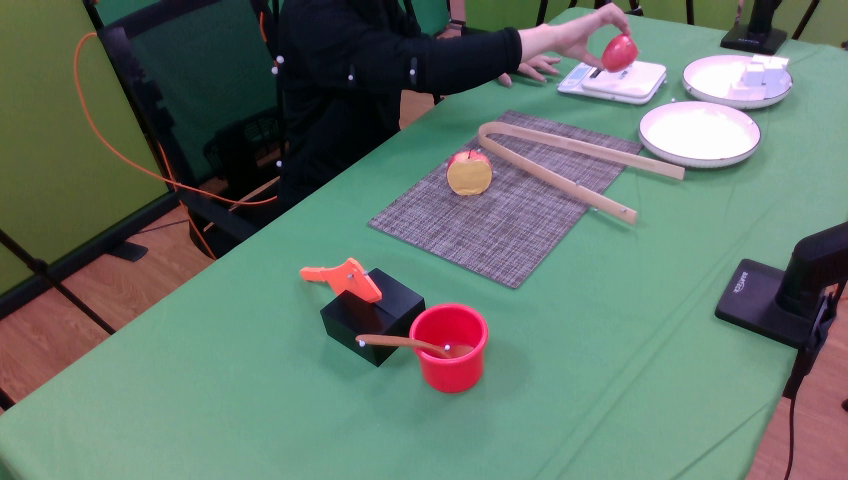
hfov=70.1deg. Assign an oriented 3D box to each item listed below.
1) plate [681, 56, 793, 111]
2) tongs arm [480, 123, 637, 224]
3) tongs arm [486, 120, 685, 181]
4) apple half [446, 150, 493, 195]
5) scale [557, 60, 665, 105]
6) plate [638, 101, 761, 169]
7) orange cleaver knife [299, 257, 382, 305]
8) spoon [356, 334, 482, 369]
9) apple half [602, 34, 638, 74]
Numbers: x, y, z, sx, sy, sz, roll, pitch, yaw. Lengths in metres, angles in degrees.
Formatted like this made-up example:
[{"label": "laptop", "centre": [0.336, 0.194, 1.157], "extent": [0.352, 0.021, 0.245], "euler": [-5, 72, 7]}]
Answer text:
[{"label": "plate", "centre": [0.636, -0.317, 1.239], "extent": [0.207, 0.039, 0.206], "euler": [-4, 40, 4]}, {"label": "tongs arm", "centre": [0.227, -0.128, 1.080], "extent": [0.051, 0.026, 0.381], "euler": [-33, 46, -26]}, {"label": "tongs arm", "centre": [0.287, -0.171, 1.123], "extent": [0.384, 0.028, 0.028], "euler": [21, 52, 29]}, {"label": "apple half", "centre": [0.080, -0.123, 1.065], "extent": [0.081, 0.075, 0.053], "euler": [-7, 37, 7]}, {"label": "scale", "centre": [0.407, -0.348, 1.314], "extent": [0.199, 0.032, 0.149], "euler": [19, 47, 28]}, {"label": "plate", "centre": [0.500, -0.189, 1.111], "extent": [0.209, 0.038, 0.208], "euler": [-4, 41, 4]}, {"label": "orange cleaver knife", "centre": [-0.124, 0.062, 0.872], "extent": [0.012, 0.077, 0.210], "euler": [-38, 17, -30]}, {"label": "spoon", "centre": [-0.001, 0.130, 0.731], "extent": [0.195, 0.021, 0.041], "euler": [21, 27, -39]}, {"label": "apple half", "centre": [0.399, -0.367, 1.214], "extent": [0.081, 0.081, 0.032], "euler": [-19, 36, -13]}]
